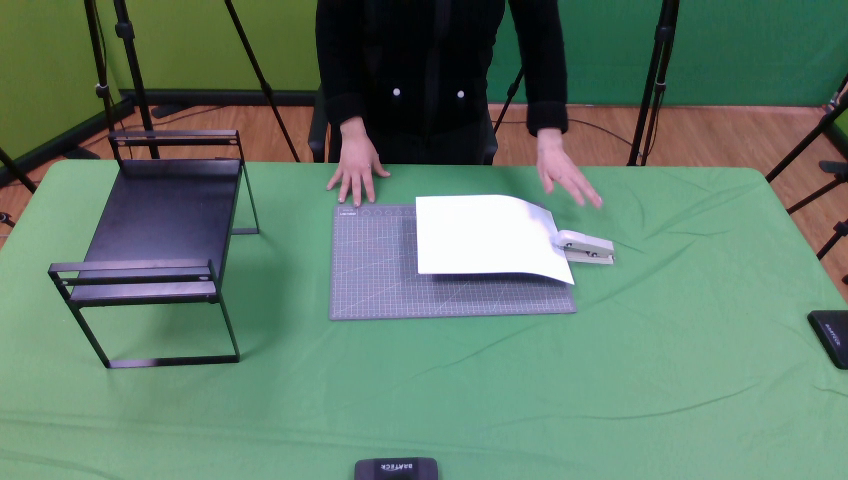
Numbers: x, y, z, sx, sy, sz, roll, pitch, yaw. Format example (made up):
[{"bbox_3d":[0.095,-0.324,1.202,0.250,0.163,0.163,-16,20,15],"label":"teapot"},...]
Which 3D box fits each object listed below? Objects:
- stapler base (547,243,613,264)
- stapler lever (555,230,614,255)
[{"bbox_3d":[0.311,0.022,1.198,0.131,0.024,0.041,5,47,-3],"label":"stapler base"},{"bbox_3d":[0.314,0.004,1.181,0.118,0.040,0.026,5,47,-2],"label":"stapler lever"}]
